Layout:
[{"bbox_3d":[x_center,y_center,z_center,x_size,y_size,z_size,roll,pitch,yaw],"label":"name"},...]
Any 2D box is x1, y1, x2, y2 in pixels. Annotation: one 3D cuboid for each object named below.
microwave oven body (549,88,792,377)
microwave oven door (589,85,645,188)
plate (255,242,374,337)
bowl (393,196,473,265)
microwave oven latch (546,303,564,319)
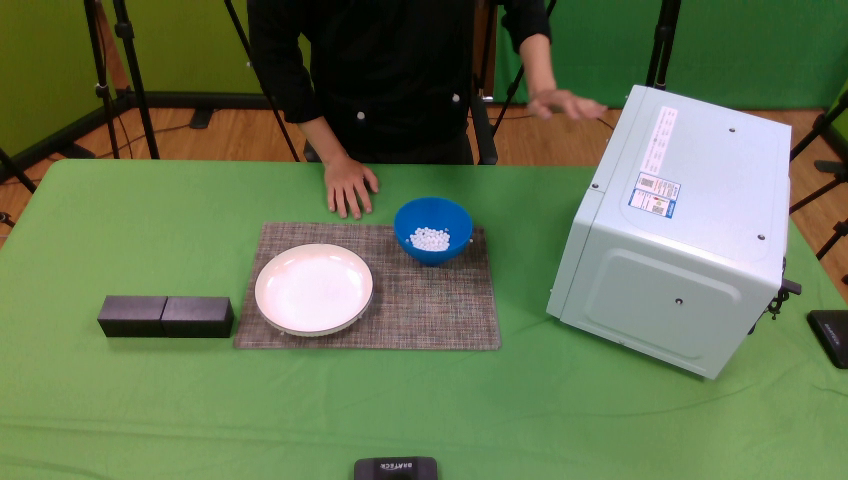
[{"bbox_3d":[0.456,-0.028,1.088,0.325,0.261,0.440,20,47,16],"label":"microwave oven body"},{"bbox_3d":[0.342,-0.107,1.149,0.039,0.245,0.354,20,48,15],"label":"microwave oven door"},{"bbox_3d":[-0.192,0.090,1.079,0.208,0.039,0.206,2,46,-2],"label":"plate"},{"bbox_3d":[0.014,-0.005,1.159,0.151,0.077,0.150,2,46,-2],"label":"bowl"},{"bbox_3d":[0.242,0.102,1.081,0.030,0.029,0.079,21,48,17],"label":"microwave oven latch"}]
